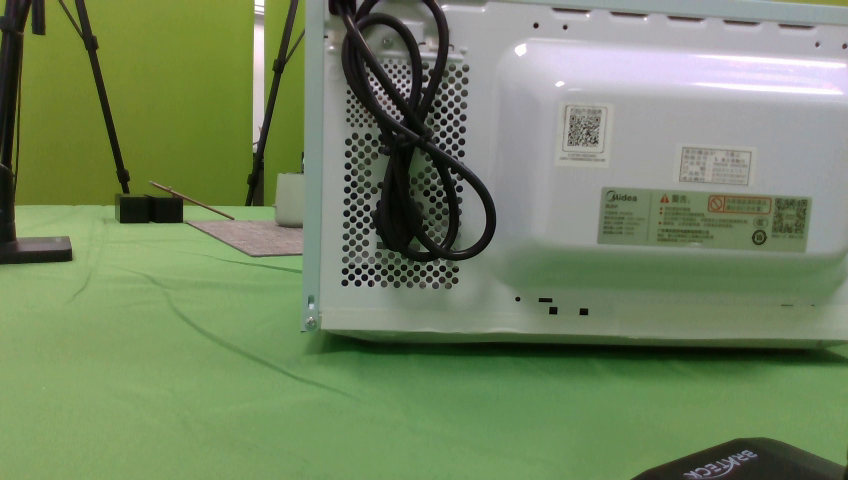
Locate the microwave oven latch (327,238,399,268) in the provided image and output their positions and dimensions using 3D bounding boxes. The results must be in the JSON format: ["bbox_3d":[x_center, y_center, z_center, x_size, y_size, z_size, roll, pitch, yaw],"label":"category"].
[{"bbox_3d":[-0.069,0.015,0.694,0.079,0.029,0.030,3,7,-2],"label":"microwave oven latch"}]

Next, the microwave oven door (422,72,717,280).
[{"bbox_3d":[0.171,-0.088,0.776,0.354,0.243,0.039,5,7,23],"label":"microwave oven door"}]

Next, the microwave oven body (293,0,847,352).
[{"bbox_3d":[0.122,-0.055,0.550,0.442,0.260,0.325,3,7,-5],"label":"microwave oven body"}]

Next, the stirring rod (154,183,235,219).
[{"bbox_3d":[-0.472,-0.079,1.252,0.177,0.006,0.014,27,4,-35],"label":"stirring rod"}]

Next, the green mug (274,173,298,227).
[{"bbox_3d":[-0.242,-0.081,1.221,0.092,0.105,0.126,8,9,39],"label":"green mug"}]
